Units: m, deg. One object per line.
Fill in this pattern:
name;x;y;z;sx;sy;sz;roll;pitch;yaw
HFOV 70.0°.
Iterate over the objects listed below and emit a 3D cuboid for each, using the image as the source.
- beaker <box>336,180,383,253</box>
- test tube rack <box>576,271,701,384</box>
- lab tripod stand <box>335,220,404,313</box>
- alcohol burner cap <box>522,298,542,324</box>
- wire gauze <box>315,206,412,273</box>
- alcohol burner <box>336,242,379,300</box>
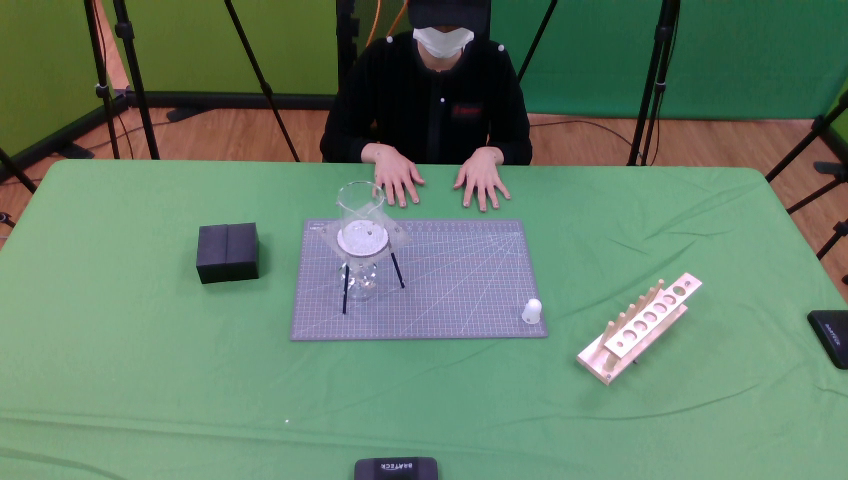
beaker;-0.102;-0.034;0.981;0.074;0.101;0.083;-7;46;-9
test tube rack;0.373;0.138;1.047;0.242;0.085;0.066;-31;56;-29
lab tripod stand;-0.110;0.039;1.070;0.148;0.132;0.147;1;46;-1
alcohol burner cap;0.193;0.124;1.074;0.034;0.048;0.033;1;46;-1
wire gauze;-0.103;-0.007;1.024;0.121;0.011;0.124;-28;50;-29
alcohol burner;-0.118;0.050;1.072;0.078;0.120;0.077;2;44;-1
